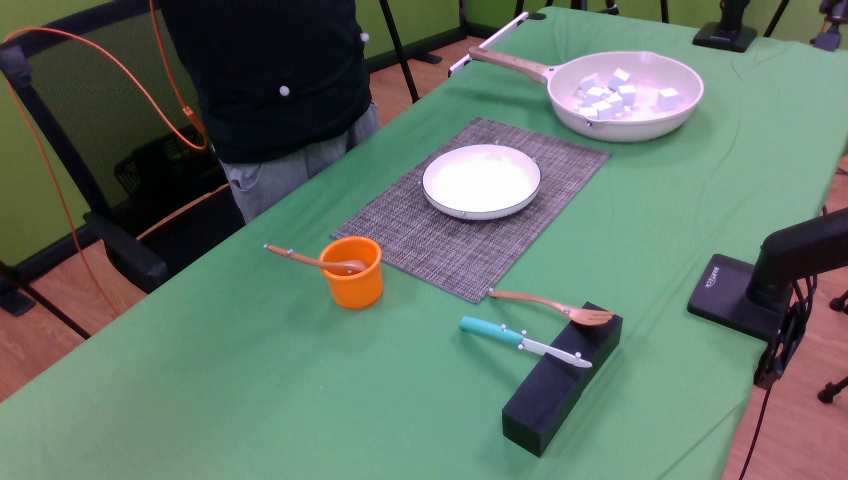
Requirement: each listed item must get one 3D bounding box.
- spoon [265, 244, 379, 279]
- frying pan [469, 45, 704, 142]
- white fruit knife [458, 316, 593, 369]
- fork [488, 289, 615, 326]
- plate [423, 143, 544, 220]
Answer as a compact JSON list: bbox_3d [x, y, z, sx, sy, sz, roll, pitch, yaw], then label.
[{"bbox_3d":[-0.137,0.031,0.846,0.195,0.021,0.041,13,16,-45],"label":"spoon"},{"bbox_3d":[0.307,-0.326,1.239,0.485,0.103,0.307,26,49,22],"label":"frying pan"},{"bbox_3d":[0.120,0.127,0.757,0.205,0.027,0.016,12,44,43],"label":"white fruit knife"},{"bbox_3d":[0.160,0.086,0.800,0.205,0.019,0.028,12,48,48],"label":"fork"},{"bbox_3d":[0.102,-0.097,1.048,0.207,0.039,0.206,-4,40,4],"label":"plate"}]
